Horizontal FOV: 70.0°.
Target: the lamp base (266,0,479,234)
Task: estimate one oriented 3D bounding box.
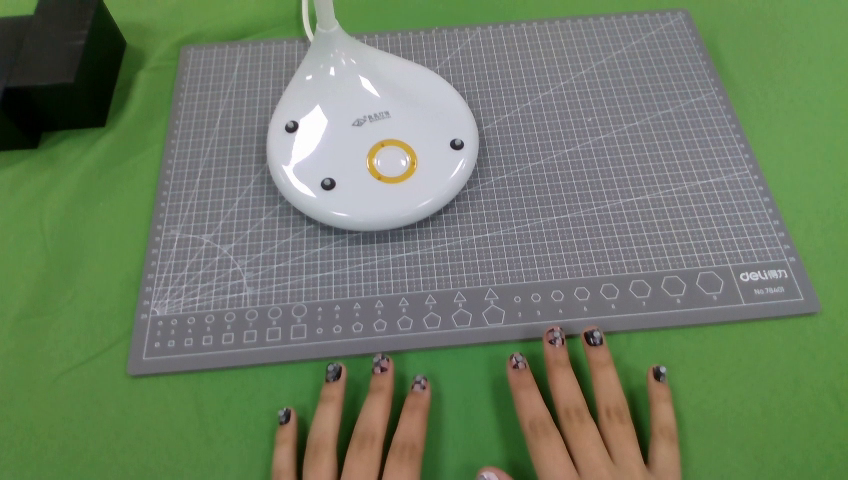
[{"bbox_3d":[-0.048,-0.121,0.399,0.160,0.182,0.177,-30,60,-15],"label":"lamp base"}]
